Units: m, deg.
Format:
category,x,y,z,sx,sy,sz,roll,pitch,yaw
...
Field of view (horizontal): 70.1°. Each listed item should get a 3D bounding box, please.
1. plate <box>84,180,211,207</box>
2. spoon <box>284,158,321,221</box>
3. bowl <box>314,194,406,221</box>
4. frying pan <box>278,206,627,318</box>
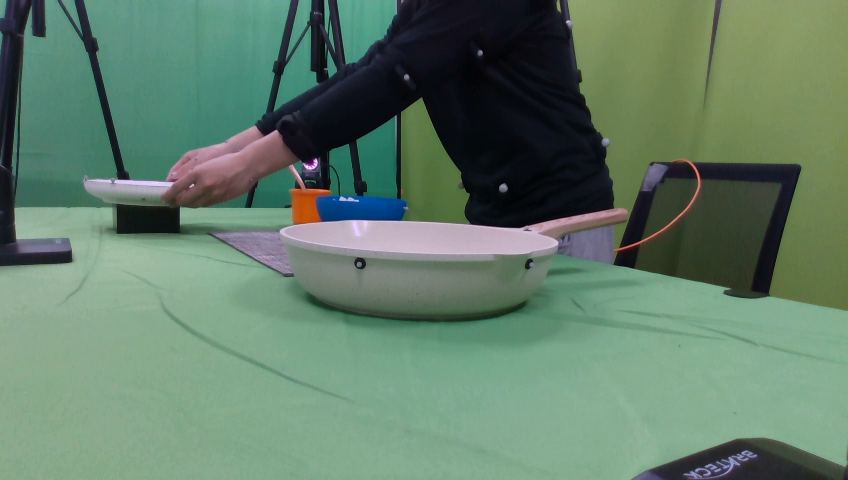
category,x,y,z,sx,sy,sz,roll,pitch,yaw
plate,-0.495,-0.085,1.093,0.208,0.039,0.207,4,6,0
spoon,-0.269,-0.113,1.335,0.042,0.193,0.021,-3,-35,-43
bowl,-0.105,-0.032,0.991,0.151,0.077,0.151,2,7,0
frying pan,0.079,0.002,0.705,0.490,0.102,0.305,-12,15,-33
